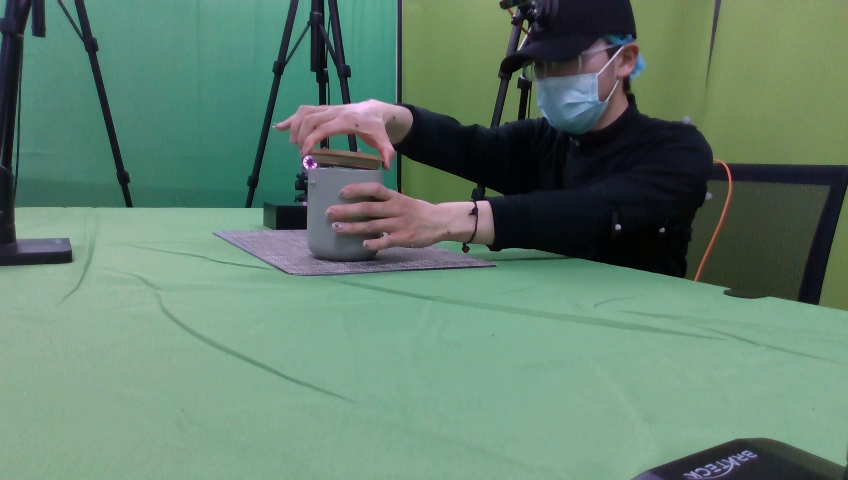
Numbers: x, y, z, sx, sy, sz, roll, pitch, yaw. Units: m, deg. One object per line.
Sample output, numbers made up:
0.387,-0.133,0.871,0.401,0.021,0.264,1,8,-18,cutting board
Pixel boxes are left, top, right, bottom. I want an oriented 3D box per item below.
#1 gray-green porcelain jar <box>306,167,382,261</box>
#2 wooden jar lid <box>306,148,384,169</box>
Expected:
-0.112,-0.039,0.849,0.106,0.126,0.106,2,7,0,gray-green porcelain jar
-0.110,-0.113,0.843,0.108,0.020,0.108,5,3,0,wooden jar lid
